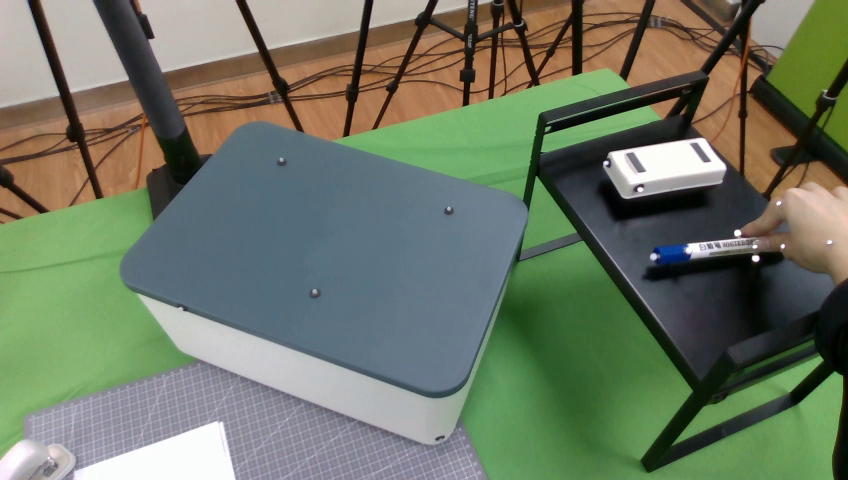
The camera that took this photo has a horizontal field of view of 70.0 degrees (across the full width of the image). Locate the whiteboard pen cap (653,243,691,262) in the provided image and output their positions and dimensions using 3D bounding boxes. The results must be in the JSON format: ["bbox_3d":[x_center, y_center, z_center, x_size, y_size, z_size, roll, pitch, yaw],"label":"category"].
[{"bbox_3d":[0.238,0.012,0.578,0.033,0.018,0.018,-4,51,-10],"label":"whiteboard pen cap"}]

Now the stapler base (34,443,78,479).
[{"bbox_3d":[-0.414,0.260,0.606,0.041,0.025,0.130,26,59,24],"label":"stapler base"}]

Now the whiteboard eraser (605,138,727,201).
[{"bbox_3d":[0.255,-0.073,0.641,0.113,0.042,0.055,-9,53,-9],"label":"whiteboard eraser"}]

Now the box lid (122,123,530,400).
[{"bbox_3d":[-0.094,-0.002,0.637,0.370,0.015,0.261,17,53,12],"label":"box lid"}]

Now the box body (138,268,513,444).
[{"bbox_3d":[-0.093,0.046,0.694,0.363,0.162,0.252,17,53,13],"label":"box body"}]

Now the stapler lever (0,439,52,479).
[{"bbox_3d":[-0.416,0.246,0.585,0.026,0.040,0.117,26,58,24],"label":"stapler lever"}]

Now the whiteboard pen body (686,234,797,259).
[{"bbox_3d":[0.296,0.007,0.587,0.141,0.017,0.017,-5,51,-9],"label":"whiteboard pen body"}]
